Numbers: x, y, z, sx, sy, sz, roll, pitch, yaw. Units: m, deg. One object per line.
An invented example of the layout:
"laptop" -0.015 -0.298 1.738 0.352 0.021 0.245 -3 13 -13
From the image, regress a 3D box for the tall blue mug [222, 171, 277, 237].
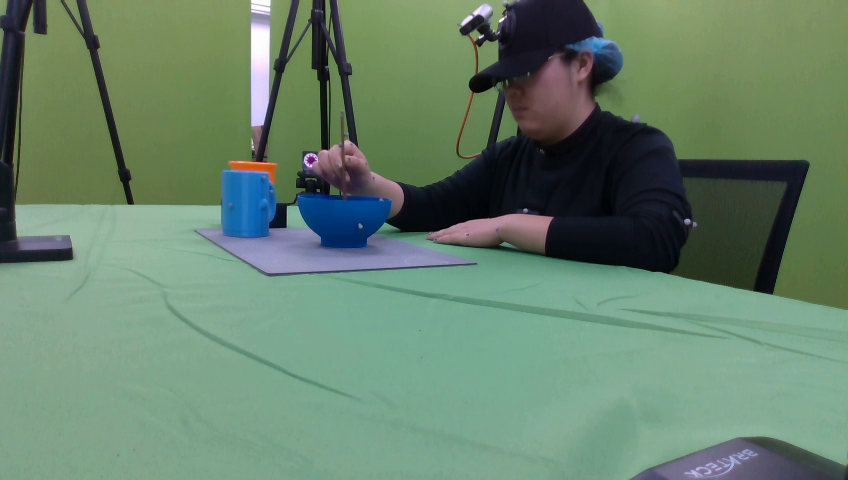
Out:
"tall blue mug" -0.303 -0.064 1.043 0.078 0.108 0.107 1 7 -4

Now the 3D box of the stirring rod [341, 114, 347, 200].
"stirring rod" -0.125 -0.110 0.952 0.006 0.176 0.014 -2 2 -6

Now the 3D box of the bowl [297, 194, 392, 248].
"bowl" -0.127 -0.030 0.964 0.151 0.077 0.151 2 7 0
